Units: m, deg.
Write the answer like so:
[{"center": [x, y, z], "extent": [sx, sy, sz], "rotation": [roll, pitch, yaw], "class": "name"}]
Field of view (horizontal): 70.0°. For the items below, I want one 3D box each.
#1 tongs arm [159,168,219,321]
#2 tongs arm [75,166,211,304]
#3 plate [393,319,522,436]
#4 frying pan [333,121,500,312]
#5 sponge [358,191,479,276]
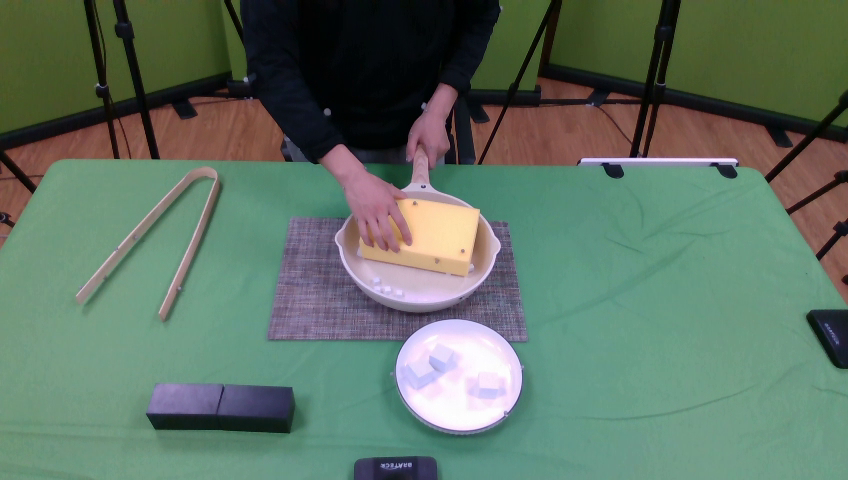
[{"center": [-0.446, -0.006, 1.164], "extent": [0.028, 0.028, 0.385], "rotation": [1, 46, 0], "class": "tongs arm"}, {"center": [-0.526, -0.021, 1.167], "extent": [0.051, 0.026, 0.383], "rotation": [13, 46, 7], "class": "tongs arm"}, {"center": [0.053, 0.222, 0.979], "extent": [0.208, 0.039, 0.206], "rotation": [2, 46, -2], "class": "plate"}, {"center": [-0.011, -0.063, 1.195], "extent": [0.307, 0.103, 0.485], "rotation": [4, 55, -2], "class": "frying pan"}, {"center": [-0.009, -0.013, 1.144], "extent": [0.207, 0.061, 0.117], "rotation": [10, 60, 5], "class": "sponge"}]
